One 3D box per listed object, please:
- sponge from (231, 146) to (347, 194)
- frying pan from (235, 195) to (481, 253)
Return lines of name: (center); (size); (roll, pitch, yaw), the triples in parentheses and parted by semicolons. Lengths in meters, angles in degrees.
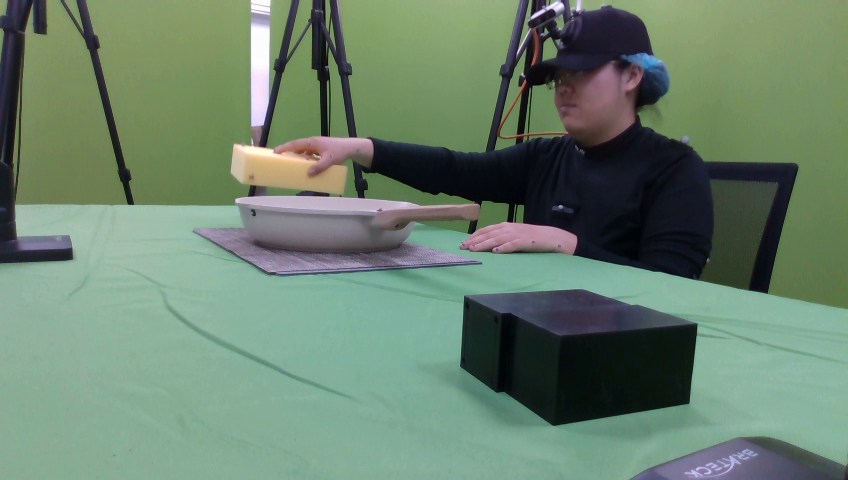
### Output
sponge: (-0.276, -0.143, 1.235); (0.208, 0.061, 0.117); (3, 14, -31)
frying pan: (-0.089, -0.034, 0.891); (0.308, 0.102, 0.485); (-4, 2, -36)
